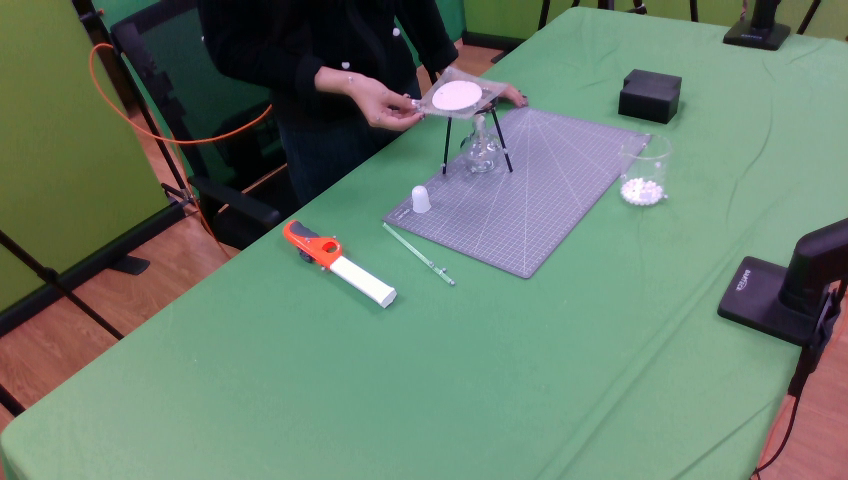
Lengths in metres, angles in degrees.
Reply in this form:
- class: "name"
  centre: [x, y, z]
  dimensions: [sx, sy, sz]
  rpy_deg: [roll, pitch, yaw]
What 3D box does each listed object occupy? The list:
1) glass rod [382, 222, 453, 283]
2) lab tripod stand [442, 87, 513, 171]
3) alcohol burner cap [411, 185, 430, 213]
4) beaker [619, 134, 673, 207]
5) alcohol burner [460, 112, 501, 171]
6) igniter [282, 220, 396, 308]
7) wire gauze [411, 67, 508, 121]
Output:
- class: "glass rod"
  centre: [-0.014, 0.016, 0.976]
  dimensions: [0.008, 0.008, 0.198]
  rpy_deg: [-30, 44, -22]
- class: "lab tripod stand"
  centre: [0.097, -0.201, 1.108]
  dimensions: [0.148, 0.132, 0.147]
  rpy_deg: [-4, 40, 4]
- class: "alcohol burner cap"
  centre: [-0.008, -0.074, 1.050]
  dimensions: [0.034, 0.048, 0.033]
  rpy_deg: [-3, 42, 3]
- class: "beaker"
  centre: [0.357, -0.111, 0.986]
  dimensions: [0.084, 0.101, 0.073]
  rpy_deg: [-10, 40, 1]
- class: "alcohol burner"
  centre: [0.102, -0.186, 1.106]
  dimensions: [0.078, 0.119, 0.077]
  rpy_deg: [-4, 42, 4]
- class: "igniter"
  centre: [-0.146, 0.032, 0.966]
  dimensions: [0.274, 0.025, 0.057]
  rpy_deg: [30, 64, 37]
- class: "wire gauze"
  centre: [0.059, -0.248, 1.030]
  dimensions: [0.120, 0.011, 0.125]
  rpy_deg: [23, 58, 31]
